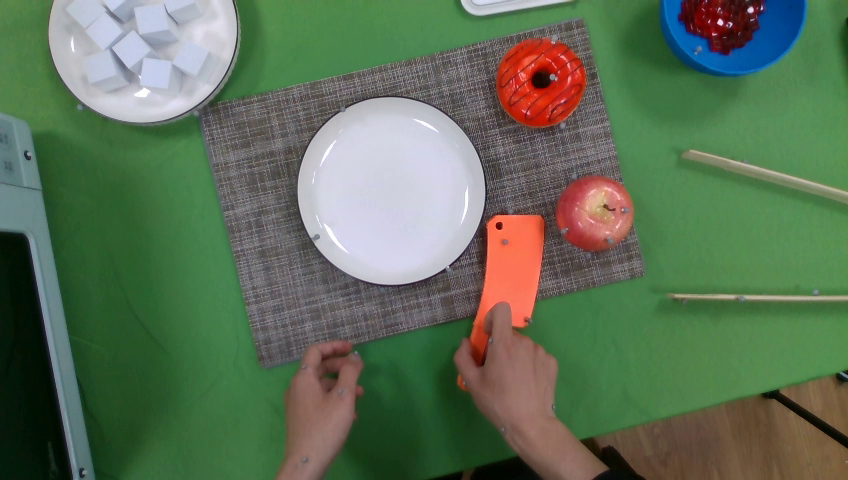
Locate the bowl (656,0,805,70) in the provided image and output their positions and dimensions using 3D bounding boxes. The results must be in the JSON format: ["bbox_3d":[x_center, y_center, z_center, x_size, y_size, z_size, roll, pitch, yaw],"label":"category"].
[{"bbox_3d":[0.317,-0.252,0.658,0.151,0.077,0.151,0,90,0],"label":"bowl"}]

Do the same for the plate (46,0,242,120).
[{"bbox_3d":[-0.303,-0.233,0.671,0.208,0.039,0.207,0,89,-1],"label":"plate"}]

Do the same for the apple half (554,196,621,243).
[{"bbox_3d":[0.169,-0.015,0.652,0.081,0.081,0.033,31,86,0],"label":"apple half"}]

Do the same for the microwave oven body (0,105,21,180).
[{"bbox_3d":[-0.553,0.099,0.551,0.326,0.260,0.441,-11,90,-1],"label":"microwave oven body"}]

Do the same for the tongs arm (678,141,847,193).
[{"bbox_3d":[0.474,-0.050,0.681,0.388,0.028,0.028,17,82,-1],"label":"tongs arm"}]

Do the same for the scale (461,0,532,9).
[{"bbox_3d":[0.098,-0.370,0.679,0.149,0.031,0.201,-9,90,0],"label":"scale"}]

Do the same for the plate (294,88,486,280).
[{"bbox_3d":[-0.037,-0.061,0.669,0.209,0.038,0.209,0,90,0],"label":"plate"}]

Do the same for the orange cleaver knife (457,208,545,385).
[{"bbox_3d":[0.087,0.061,0.679,0.077,0.012,0.211,13,89,-8],"label":"orange cleaver knife"}]

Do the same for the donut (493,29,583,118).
[{"bbox_3d":[0.125,-0.183,0.668,0.099,0.048,0.099,0,91,1],"label":"donut"}]

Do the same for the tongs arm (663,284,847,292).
[{"bbox_3d":[0.463,0.036,0.679,0.385,0.026,0.050,2,86,-1],"label":"tongs arm"}]

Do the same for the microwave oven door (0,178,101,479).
[{"bbox_3d":[-0.402,0.112,0.548,0.039,0.244,0.355,-12,89,0],"label":"microwave oven door"}]

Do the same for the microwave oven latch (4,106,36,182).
[{"bbox_3d":[-0.443,-0.101,0.650,0.030,0.029,0.079,-10,90,-1],"label":"microwave oven latch"}]

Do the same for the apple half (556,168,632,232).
[{"bbox_3d":[0.188,-0.049,0.654,0.081,0.075,0.053,30,86,4],"label":"apple half"}]
